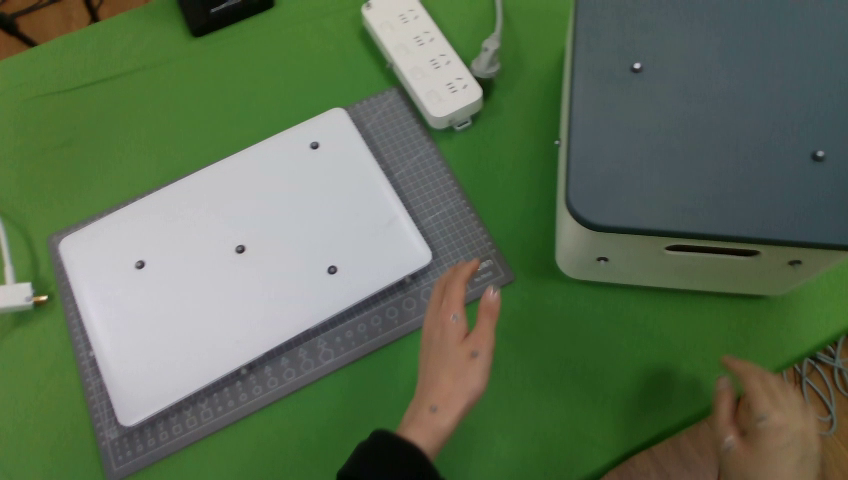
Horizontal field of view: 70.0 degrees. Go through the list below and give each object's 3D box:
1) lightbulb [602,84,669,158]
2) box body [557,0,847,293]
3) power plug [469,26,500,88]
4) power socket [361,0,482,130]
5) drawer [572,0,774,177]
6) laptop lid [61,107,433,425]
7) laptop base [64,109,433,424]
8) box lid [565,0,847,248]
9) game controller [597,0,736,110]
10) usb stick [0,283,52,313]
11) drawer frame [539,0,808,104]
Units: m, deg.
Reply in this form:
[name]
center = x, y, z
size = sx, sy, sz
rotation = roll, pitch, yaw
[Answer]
[lightbulb]
center = 0.229, -0.137, 0.675
size = 0.059, 0.060, 0.106
rotation = -17, 53, -4
[box body]
center = 0.272, -0.136, 0.631
size = 0.254, 0.161, 0.361
rotation = 4, 66, 5
[power plug]
center = 0.083, -0.224, 0.749
size = 0.035, 0.053, 0.072
rotation = 30, 54, 20
[power socket]
center = -0.007, -0.231, 0.761
size = 0.072, 0.033, 0.225
rotation = -27, 67, -10
[drawer]
center = 0.268, -0.178, 0.676
size = 0.194, 0.074, 0.210
rotation = 3, 72, 8
[laptop lid]
center = -0.195, 0.011, 0.659
size = 0.357, 0.013, 0.239
rotation = -27, 70, -8
[laptop base]
center = -0.195, 0.014, 0.671
size = 0.354, 0.023, 0.233
rotation = -29, 71, -9
[box lid]
center = 0.267, -0.169, 0.564
size = 0.263, 0.015, 0.369
rotation = 4, 67, 6
[game controller]
center = 0.263, -0.221, 0.654
size = 0.097, 0.052, 0.154
rotation = -19, 65, -3
[usb stick]
center = -0.436, 0.062, 0.652
size = 0.059, 0.021, 0.027
rotation = -2, 65, -34
[drawer frame]
center = 0.253, -0.178, 0.628
size = 0.203, 0.212, 0.082
rotation = 37, 84, -17
